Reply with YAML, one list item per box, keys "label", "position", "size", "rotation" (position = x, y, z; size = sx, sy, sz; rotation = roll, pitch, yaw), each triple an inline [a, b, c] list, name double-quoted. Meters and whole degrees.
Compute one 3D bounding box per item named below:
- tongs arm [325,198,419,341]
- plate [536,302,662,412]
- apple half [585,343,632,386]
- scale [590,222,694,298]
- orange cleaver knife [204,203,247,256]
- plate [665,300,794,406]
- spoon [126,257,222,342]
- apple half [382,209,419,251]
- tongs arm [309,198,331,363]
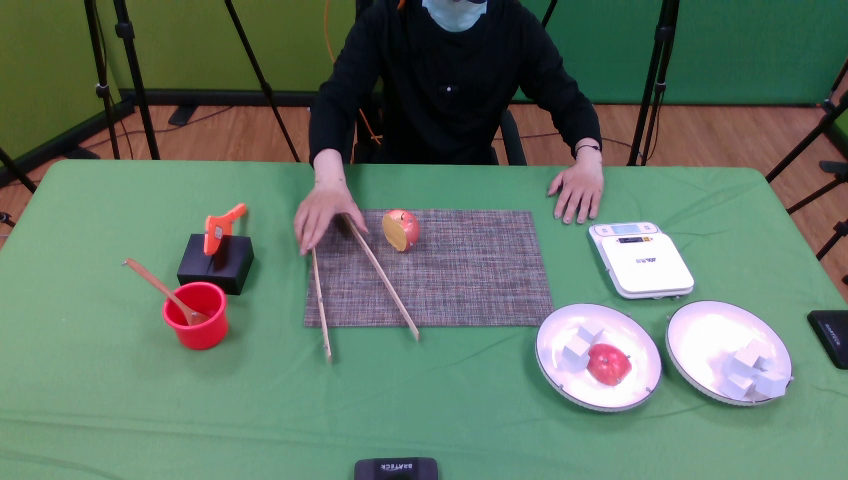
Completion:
- label: "tongs arm"
  position: [-0.102, 0.043, 1.140]
  size: [0.028, 0.028, 0.385]
  rotation: [-22, 51, -18]
- label: "plate"
  position: [0.288, 0.197, 1.016]
  size: [0.209, 0.038, 0.208]
  rotation: [2, 46, -2]
- label: "apple half"
  position: [0.309, 0.198, 1.008]
  size: [0.081, 0.033, 0.081]
  rotation: [4, 48, -4]
- label: "scale"
  position: [0.424, 0.031, 1.189]
  size: [0.149, 0.032, 0.199]
  rotation: [-3, 46, -7]
- label: "orange cleaver knife"
  position: [-0.374, -0.024, 1.146]
  size: [0.012, 0.077, 0.211]
  rotation: [4, 14, 1]
- label: "plate"
  position: [0.513, 0.194, 1.034]
  size: [0.208, 0.039, 0.206]
  rotation: [2, 46, -2]
- label: "spoon"
  position: [-0.408, 0.096, 0.990]
  size: [0.194, 0.021, 0.041]
  rotation: [50, 53, -18]
- label: "apple half"
  position: [-0.039, -0.022, 1.175]
  size: [0.053, 0.075, 0.080]
  rotation: [-27, 49, -31]
- label: "tongs arm"
  position: [-0.180, 0.058, 1.117]
  size: [0.051, 0.026, 0.382]
  rotation: [-9, 47, -12]
